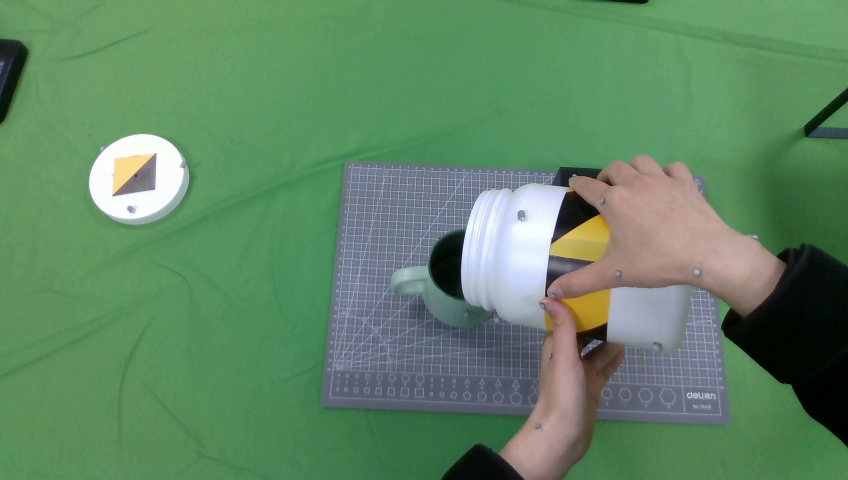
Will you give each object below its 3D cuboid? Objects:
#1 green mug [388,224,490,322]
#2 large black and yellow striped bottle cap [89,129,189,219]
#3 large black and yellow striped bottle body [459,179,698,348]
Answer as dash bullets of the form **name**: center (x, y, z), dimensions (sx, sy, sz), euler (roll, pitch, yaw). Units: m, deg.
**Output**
- **green mug**: center (0.023, 0.038, 0.658), dimensions (0.125, 0.105, 0.092), euler (-4, 72, -3)
- **large black and yellow striped bottle cap**: center (-0.347, -0.082, 0.738), dimensions (0.115, 0.019, 0.114), euler (1, 71, -1)
- **large black and yellow striped bottle body**: center (0.134, 0.016, 0.535), dimensions (0.183, 0.132, 0.130), euler (9, 70, 20)
